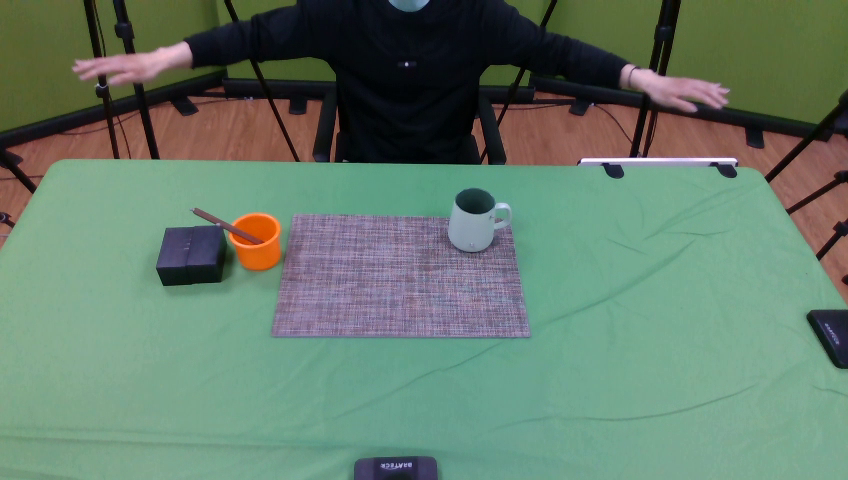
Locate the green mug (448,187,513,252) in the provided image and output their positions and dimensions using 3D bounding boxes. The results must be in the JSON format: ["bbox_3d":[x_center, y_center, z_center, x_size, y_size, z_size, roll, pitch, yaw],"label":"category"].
[{"bbox_3d":[0.112,-0.041,1.180,0.125,0.105,0.092,-8,47,-11],"label":"green mug"}]

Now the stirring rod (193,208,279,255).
[{"bbox_3d":[-0.340,-0.014,1.107,0.177,0.006,0.014,32,29,-34],"label":"stirring rod"}]
